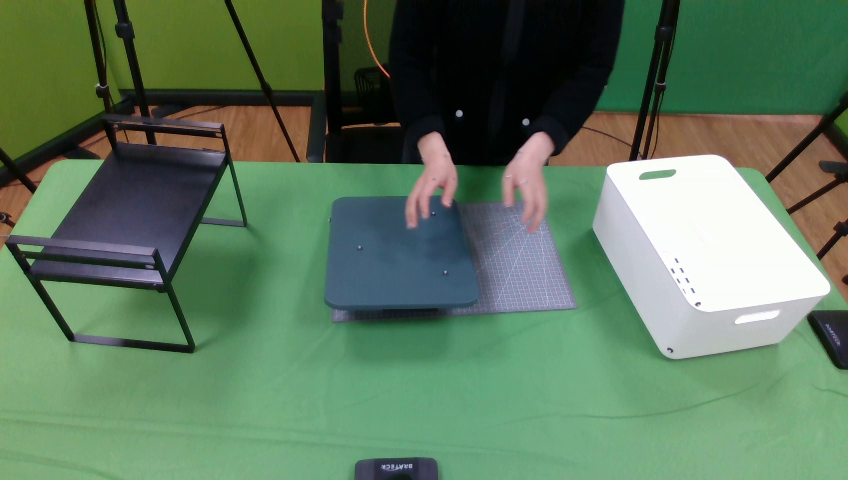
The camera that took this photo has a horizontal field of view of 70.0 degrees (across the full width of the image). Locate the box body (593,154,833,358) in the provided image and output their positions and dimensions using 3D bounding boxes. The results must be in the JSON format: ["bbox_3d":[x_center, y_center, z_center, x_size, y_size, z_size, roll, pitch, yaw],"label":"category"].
[{"bbox_3d":[0.497,0.022,1.112,0.254,0.161,0.361,-7,47,-10],"label":"box body"}]

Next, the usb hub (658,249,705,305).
[{"bbox_3d":[0.481,0.070,1.152,0.049,0.025,0.124,-4,45,-6],"label":"usb hub"}]

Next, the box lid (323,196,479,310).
[{"bbox_3d":[-0.049,0.010,1.137,0.263,0.015,0.369,-1,33,-6],"label":"box lid"}]
